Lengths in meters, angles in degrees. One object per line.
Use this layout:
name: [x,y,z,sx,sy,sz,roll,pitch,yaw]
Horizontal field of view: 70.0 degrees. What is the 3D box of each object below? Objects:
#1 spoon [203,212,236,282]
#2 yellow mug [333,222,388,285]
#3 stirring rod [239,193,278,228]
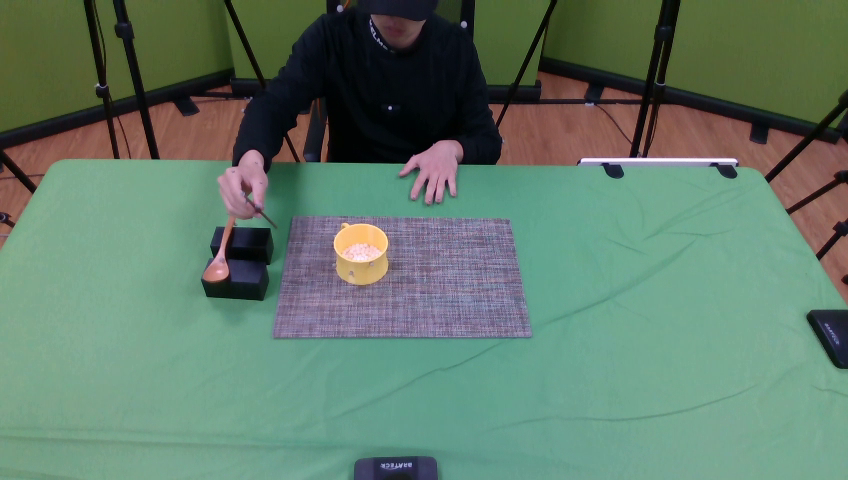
spoon: [-0.361,0.009,1.097,0.041,0.022,0.192,0,44,-3]
yellow mug: [-0.127,0.016,1.139,0.100,0.064,0.130,-23,51,-24]
stirring rod: [-0.284,-0.049,1.050,0.006,0.176,0.014,-39,77,-5]
